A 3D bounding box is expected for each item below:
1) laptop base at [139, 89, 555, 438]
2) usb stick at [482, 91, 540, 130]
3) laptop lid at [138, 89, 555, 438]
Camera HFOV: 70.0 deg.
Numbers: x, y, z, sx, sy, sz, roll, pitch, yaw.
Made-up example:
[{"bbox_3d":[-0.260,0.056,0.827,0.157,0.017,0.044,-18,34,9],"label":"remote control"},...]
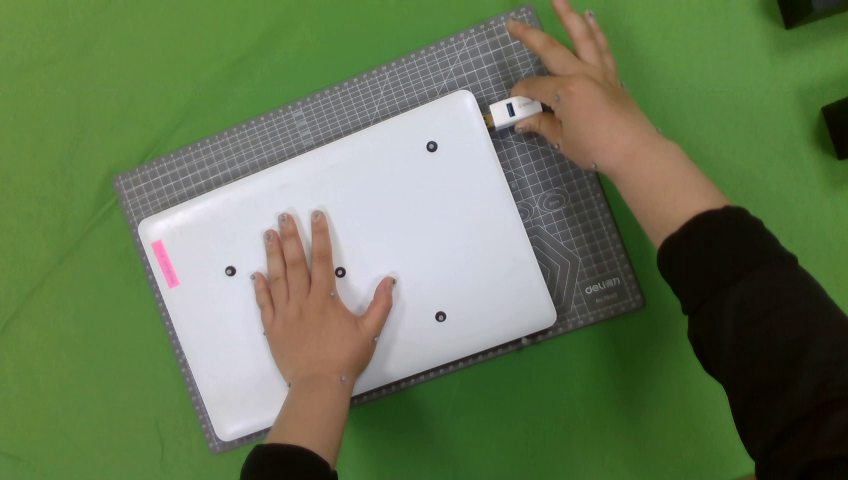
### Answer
[{"bbox_3d":[-0.079,0.028,0.584,0.354,0.023,0.235,-21,93,7],"label":"laptop base"},{"bbox_3d":[0.074,-0.115,0.550,0.059,0.027,0.021,-14,86,8],"label":"usb stick"},{"bbox_3d":[-0.079,0.030,0.575,0.356,0.013,0.241,-20,92,7],"label":"laptop lid"}]
